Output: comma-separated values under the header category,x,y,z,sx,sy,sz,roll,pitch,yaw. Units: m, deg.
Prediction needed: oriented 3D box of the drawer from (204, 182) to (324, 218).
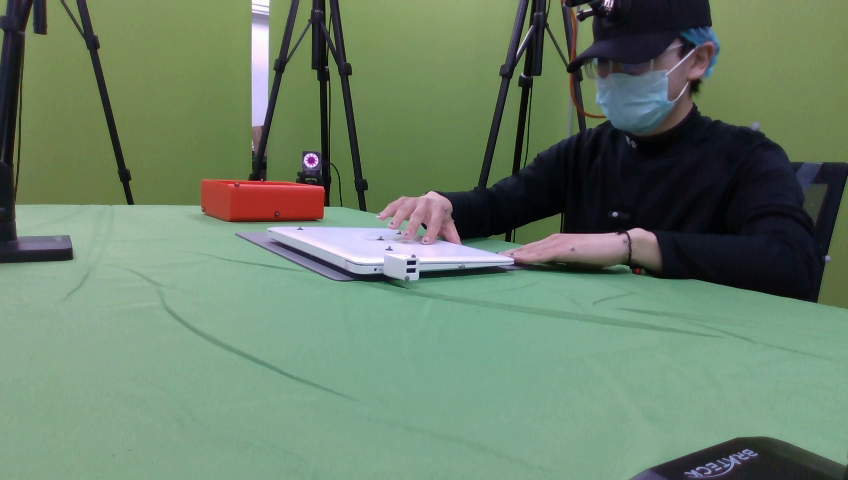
category,x,y,z,sx,sy,sz,roll,pitch,yaw
drawer,-0.360,-0.092,1.358,0.213,0.073,0.193,-3,10,-36

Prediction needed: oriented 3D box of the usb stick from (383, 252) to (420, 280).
category,x,y,z,sx,sy,sz,roll,pitch,yaw
usb stick,-0.029,0.028,0.675,0.021,0.027,0.059,-2,5,-35

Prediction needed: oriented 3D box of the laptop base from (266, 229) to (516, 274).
category,x,y,z,sx,sy,sz,roll,pitch,yaw
laptop base,-0.066,0.014,0.877,0.237,0.023,0.352,2,7,-32

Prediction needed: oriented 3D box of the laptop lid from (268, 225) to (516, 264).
category,x,y,z,sx,sy,sz,roll,pitch,yaw
laptop lid,-0.063,0.002,0.877,0.243,0.013,0.355,1,7,-30

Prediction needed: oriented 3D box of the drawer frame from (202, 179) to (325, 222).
category,x,y,z,sx,sy,sz,roll,pitch,yaw
drawer frame,-0.361,-0.092,1.356,0.215,0.082,0.200,-4,10,-37
